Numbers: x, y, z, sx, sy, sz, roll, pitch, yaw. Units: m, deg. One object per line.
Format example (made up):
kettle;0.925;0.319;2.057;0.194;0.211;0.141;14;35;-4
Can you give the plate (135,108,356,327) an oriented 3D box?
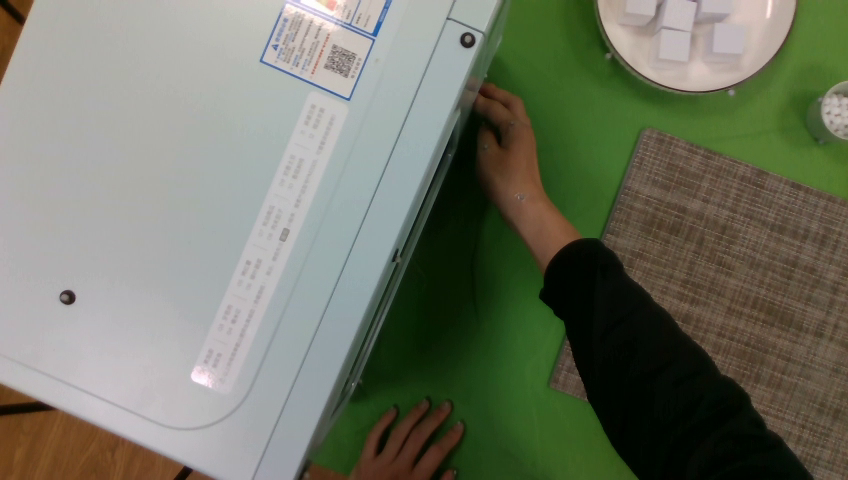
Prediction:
plate;-0.169;-0.021;0.587;0.209;0.038;0.209;0;92;0

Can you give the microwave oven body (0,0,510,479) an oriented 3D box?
microwave oven body;-0.157;-0.080;0.536;0.326;0.260;0.441;23;92;1

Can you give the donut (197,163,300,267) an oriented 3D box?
donut;-0.166;-0.023;0.575;0.099;0.048;0.099;0;91;2

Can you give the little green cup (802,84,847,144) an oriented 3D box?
little green cup;0.434;-0.130;0.637;0.061;0.038;0.061;0;90;2

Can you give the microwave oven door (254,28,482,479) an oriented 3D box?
microwave oven door;-0.041;0.018;0.530;0.039;0.244;0.355;23;91;2

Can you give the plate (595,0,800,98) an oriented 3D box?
plate;0.282;-0.251;0.639;0.207;0.039;0.207;0;91;1

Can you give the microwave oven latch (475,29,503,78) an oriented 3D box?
microwave oven latch;0.050;-0.187;0.626;0.030;0.029;0.079;35;92;0
